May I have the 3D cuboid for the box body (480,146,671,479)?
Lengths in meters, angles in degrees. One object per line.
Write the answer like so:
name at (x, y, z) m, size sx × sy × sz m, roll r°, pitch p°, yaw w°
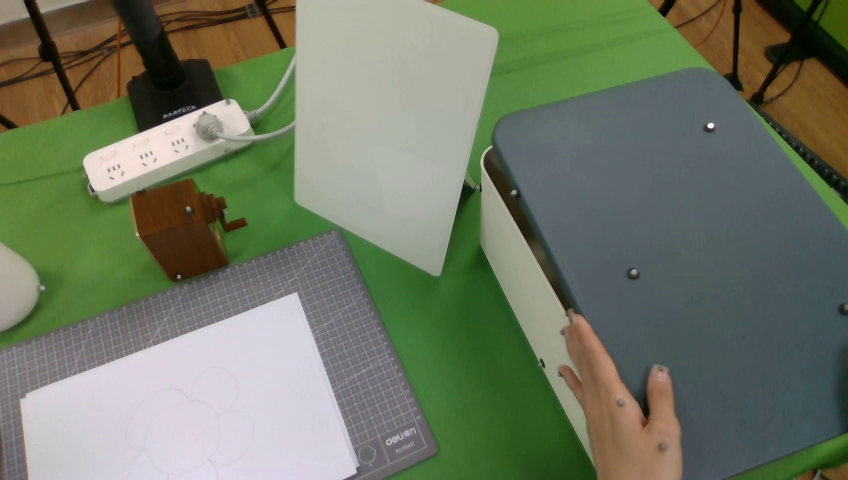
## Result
box body at (0.233, 0.051, 0.617) m, size 0.254 × 0.162 × 0.360 m, roll -19°, pitch 60°, yaw -11°

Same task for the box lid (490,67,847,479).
box lid at (0.237, -0.004, 0.534) m, size 0.264 × 0.015 × 0.367 m, roll -16°, pitch 61°, yaw -11°

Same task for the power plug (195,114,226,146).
power plug at (-0.273, -0.130, 0.779) m, size 0.035 × 0.053 × 0.072 m, roll -18°, pitch 61°, yaw -10°

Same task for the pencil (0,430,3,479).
pencil at (-0.408, 0.270, 0.573) m, size 0.012 × 0.012 × 0.192 m, roll -15°, pitch 58°, yaw -8°

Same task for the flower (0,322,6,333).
flower at (-0.489, -0.037, 0.556) m, size 0.038 × 0.365 × 0.043 m, roll -33°, pitch 45°, yaw -26°

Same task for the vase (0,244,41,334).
vase at (-0.486, 0.023, 0.616) m, size 0.098 × 0.201 × 0.097 m, roll -1°, pitch 58°, yaw 2°

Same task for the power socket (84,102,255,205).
power socket at (-0.332, -0.117, 0.798) m, size 0.227 × 0.033 × 0.071 m, roll -26°, pitch 63°, yaw -16°

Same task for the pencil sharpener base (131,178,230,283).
pencil sharpener base at (-0.271, -0.010, 0.689) m, size 0.077 × 0.108 × 0.061 m, roll -19°, pitch 60°, yaw -11°

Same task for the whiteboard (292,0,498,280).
whiteboard at (-0.018, -0.145, 0.691) m, size 0.216 × 0.308 × 0.143 m, roll 27°, pitch 43°, yaw 17°

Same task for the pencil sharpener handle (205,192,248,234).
pencil sharpener handle at (-0.223, -0.032, 0.689) m, size 0.031 × 0.068 × 0.035 m, roll -19°, pitch 59°, yaw -11°
